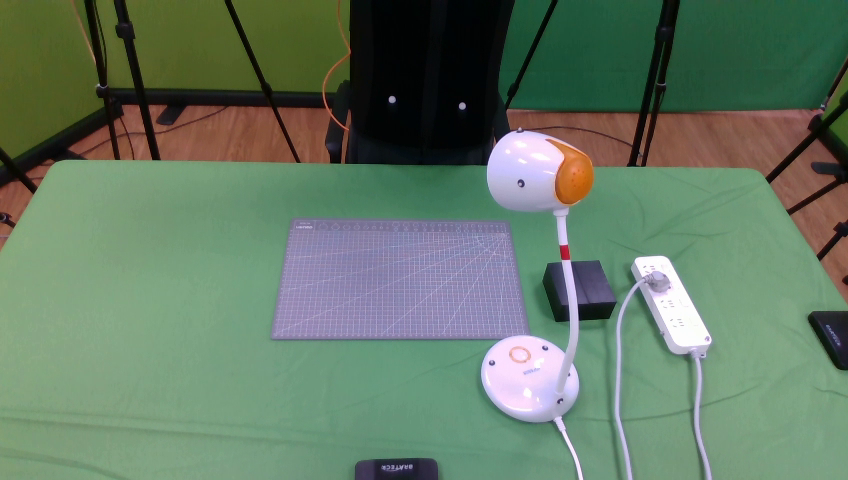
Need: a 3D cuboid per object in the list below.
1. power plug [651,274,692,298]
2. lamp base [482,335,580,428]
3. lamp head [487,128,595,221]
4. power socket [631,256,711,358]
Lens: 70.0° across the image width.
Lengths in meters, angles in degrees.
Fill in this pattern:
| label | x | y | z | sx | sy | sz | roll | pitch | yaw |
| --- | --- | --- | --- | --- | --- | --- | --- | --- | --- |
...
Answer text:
| label | x | y | z | sx | sy | sz | roll | pitch | yaw |
| --- | --- | --- | --- | --- | --- | --- | --- | --- | --- |
| power plug | 0.445 | 0.093 | 1.102 | 0.035 | 0.053 | 0.072 | -26 | 57 | -7 |
| lamp base | 0.185 | 0.177 | 0.928 | 0.161 | 0.181 | 0.178 | -22 | 53 | -23 |
| lamp head | 0.160 | -0.084 | 0.791 | 0.112 | 0.113 | 0.122 | -24 | 28 | -25 |
| power socket | 0.449 | 0.115 | 1.112 | 0.072 | 0.033 | 0.225 | -4 | 47 | -6 |
